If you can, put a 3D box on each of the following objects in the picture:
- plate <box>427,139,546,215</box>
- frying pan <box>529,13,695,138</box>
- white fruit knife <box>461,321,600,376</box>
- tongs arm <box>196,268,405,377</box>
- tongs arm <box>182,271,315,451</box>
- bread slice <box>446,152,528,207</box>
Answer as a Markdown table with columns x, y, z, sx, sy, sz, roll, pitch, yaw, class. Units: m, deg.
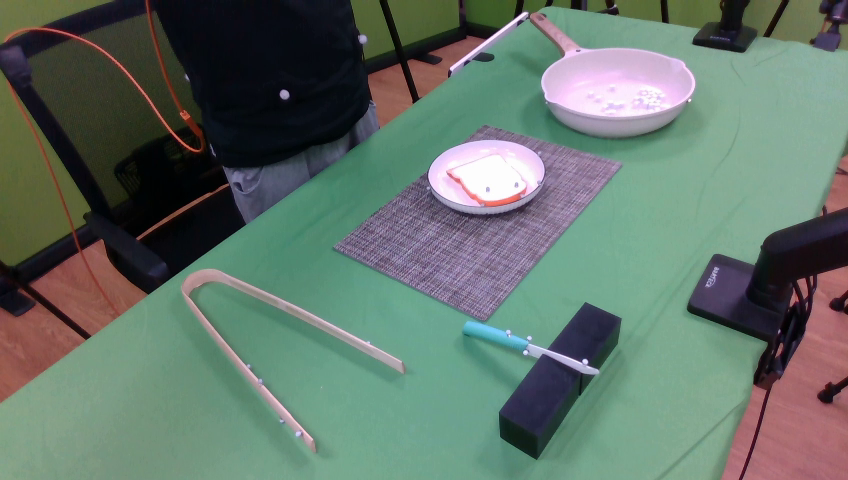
| x | y | z | sx | sy | sz | roll | pitch | yaw | class |
| --- | --- | --- | --- | --- | --- | --- | --- | --- | --- |
| 0.109 | -0.107 | 1.058 | 0.207 | 0.039 | 0.206 | -4 | 40 | 4 | plate |
| 0.348 | -0.368 | 1.282 | 0.308 | 0.103 | 0.484 | -16 | 50 | -12 | frying pan |
| 0.125 | 0.133 | 0.751 | 0.205 | 0.027 | 0.016 | 12 | 42 | 42 | white fruit knife |
| -0.187 | 0.111 | 0.866 | 0.385 | 0.028 | 0.028 | 20 | 48 | 27 | tongs arm |
| -0.242 | 0.148 | 0.820 | 0.051 | 0.026 | 0.381 | -32 | 46 | -31 | tongs arm |
| 0.118 | -0.104 | 1.057 | 0.107 | 0.018 | 0.133 | -24 | 42 | -18 | bread slice |
